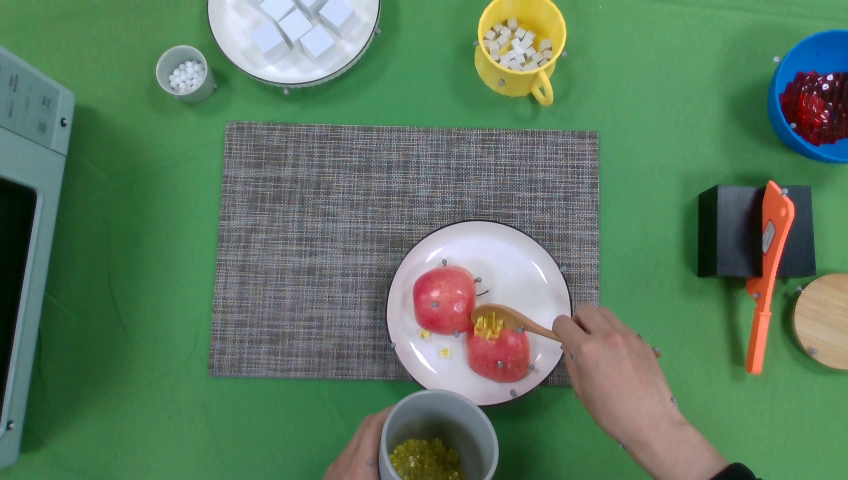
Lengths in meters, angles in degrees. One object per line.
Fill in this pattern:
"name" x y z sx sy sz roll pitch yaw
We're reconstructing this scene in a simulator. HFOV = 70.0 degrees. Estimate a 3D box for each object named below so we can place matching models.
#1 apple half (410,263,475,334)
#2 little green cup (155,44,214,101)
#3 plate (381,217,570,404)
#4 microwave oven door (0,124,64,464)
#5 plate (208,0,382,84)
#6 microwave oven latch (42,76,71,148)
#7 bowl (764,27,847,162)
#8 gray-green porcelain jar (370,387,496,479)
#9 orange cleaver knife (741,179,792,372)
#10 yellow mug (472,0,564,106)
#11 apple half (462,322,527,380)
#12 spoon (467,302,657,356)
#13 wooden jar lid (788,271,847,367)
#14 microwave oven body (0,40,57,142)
"apple half" 0.020 0.064 0.672 0.074 0.053 0.080 -1 83 3
"little green cup" -0.284 -0.198 0.726 0.061 0.039 0.061 0 84 0
"plate" 0.057 0.079 0.685 0.209 0.038 0.208 0 83 1
"microwave oven door" -0.459 0.054 0.579 0.039 0.244 0.354 5 83 2
"plate" -0.154 -0.285 0.737 0.208 0.039 0.207 0 83 1
"microwave oven latch" -0.435 -0.150 0.705 0.030 0.029 0.079 8 84 1
"bowl" 0.453 -0.154 0.692 0.151 0.077 0.151 0 83 1
"gray-green porcelain jar" 0.003 0.218 0.575 0.106 0.127 0.105 6 44 -6
"orange cleaver knife" 0.368 0.041 0.668 0.012 0.077 0.212 3 107 5
"yellow mug" 0.116 -0.217 0.711 0.100 0.064 0.130 -27 84 -3
"apple half" 0.080 0.119 0.673 0.081 0.033 0.081 0 79 0
"spoon" 0.130 0.091 0.600 0.192 0.042 0.021 12 49 33
"wooden jar lid" 0.467 0.090 0.691 0.108 0.021 0.108 0 83 2
"microwave oven body" -0.601 -0.001 0.592 0.326 0.261 0.440 5 84 1
